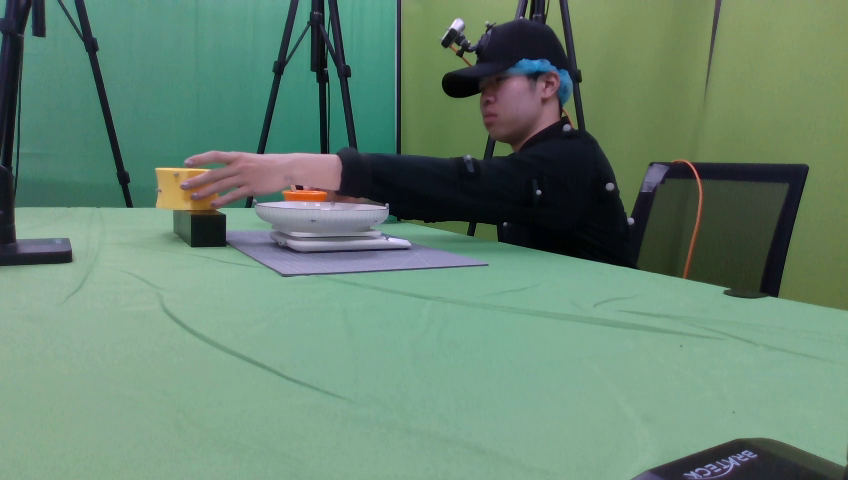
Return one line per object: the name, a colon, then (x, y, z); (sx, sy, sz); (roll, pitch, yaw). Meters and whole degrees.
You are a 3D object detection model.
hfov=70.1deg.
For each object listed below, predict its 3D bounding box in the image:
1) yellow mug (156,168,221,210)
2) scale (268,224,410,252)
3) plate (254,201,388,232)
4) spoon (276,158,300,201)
yellow mug: (-0.395, -0.087, 1.026); (0.100, 0.064, 0.130); (2, 7, -9)
scale: (-0.137, -0.006, 0.979); (0.202, 0.031, 0.148); (-1, 8, -30)
plate: (-0.161, -0.038, 0.961); (0.209, 0.038, 0.209); (2, 6, 0)
spoon: (-0.273, -0.103, 1.259); (0.042, 0.193, 0.021); (-7, -33, -32)
